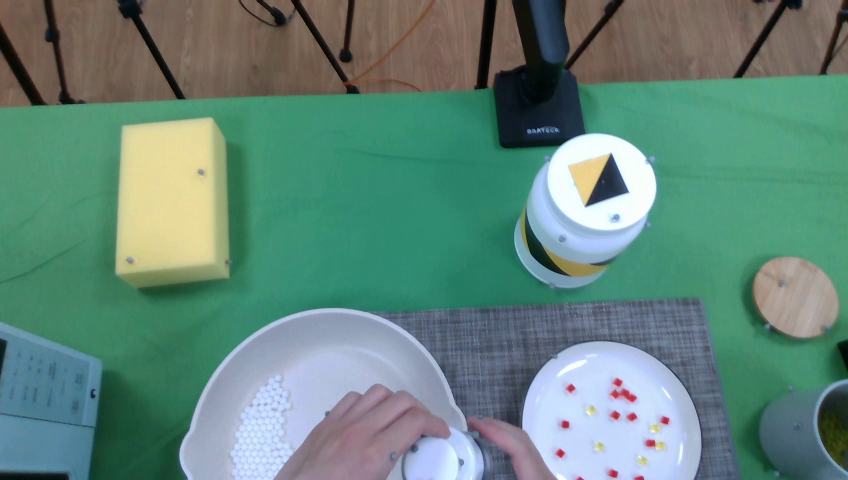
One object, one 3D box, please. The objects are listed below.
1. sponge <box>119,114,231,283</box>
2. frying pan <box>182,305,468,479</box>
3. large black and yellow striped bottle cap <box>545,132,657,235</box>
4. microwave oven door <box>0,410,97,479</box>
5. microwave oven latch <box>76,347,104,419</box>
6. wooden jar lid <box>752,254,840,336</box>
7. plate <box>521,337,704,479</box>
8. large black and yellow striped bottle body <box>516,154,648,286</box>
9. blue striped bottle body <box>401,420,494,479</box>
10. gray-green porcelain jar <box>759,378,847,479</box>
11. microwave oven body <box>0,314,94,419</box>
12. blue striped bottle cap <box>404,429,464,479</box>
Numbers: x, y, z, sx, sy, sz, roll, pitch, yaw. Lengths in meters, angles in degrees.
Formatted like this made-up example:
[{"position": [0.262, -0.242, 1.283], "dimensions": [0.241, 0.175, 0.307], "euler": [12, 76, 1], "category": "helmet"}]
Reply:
[{"position": [-0.319, -0.055, 0.783], "dimensions": [0.118, 0.061, 0.205], "euler": [-7, 71, -4], "category": "sponge"}, {"position": [-0.098, 0.312, 0.630], "dimensions": [0.307, 0.103, 0.483], "euler": [-4, 62, 0], "category": "frying pan"}, {"position": [0.186, -0.061, 0.640], "dimensions": [0.115, 0.019, 0.114], "euler": [0, 69, 0], "category": "large black and yellow striped bottle cap"}, {"position": [-0.381, 0.334, 0.526], "dimensions": [0.039, 0.245, 0.353], "euler": [-2, 70, -2], "category": "microwave oven door"}, {"position": [-0.389, 0.164, 0.695], "dimensions": [0.030, 0.029, 0.078], "euler": [-1, 71, -2], "category": "microwave oven latch"}, {"position": [0.473, 0.071, 0.776], "dimensions": [0.108, 0.021, 0.107], "euler": [0, 72, -1], "category": "wooden jar lid"}, {"position": [0.214, 0.218, 0.704], "dimensions": [0.209, 0.038, 0.207], "euler": [0, 70, 0], "category": "plate"}, {"position": [0.185, -0.031, 0.721], "dimensions": [0.131, 0.185, 0.130], "euler": [0, 69, 0], "category": "large black and yellow striped bottle body"}, {"position": [0.020, 0.187, 0.513], "dimensions": [0.063, 0.122, 0.062], "euler": [-5, 69, 14], "category": "blue striped bottle body"}, {"position": [0.446, 0.213, 0.668], "dimensions": [0.106, 0.127, 0.105], "euler": [0, 70, -1], "category": "gray-green porcelain jar"}, {"position": [-0.529, 0.301, 0.540], "dimensions": [0.326, 0.261, 0.438], "euler": [-2, 71, -2], "category": "microwave oven body"}, {"position": [0.007, 0.168, 0.467], "dimensions": [0.044, 0.021, 0.044], "euler": [-4, 72, 14], "category": "blue striped bottle cap"}]
